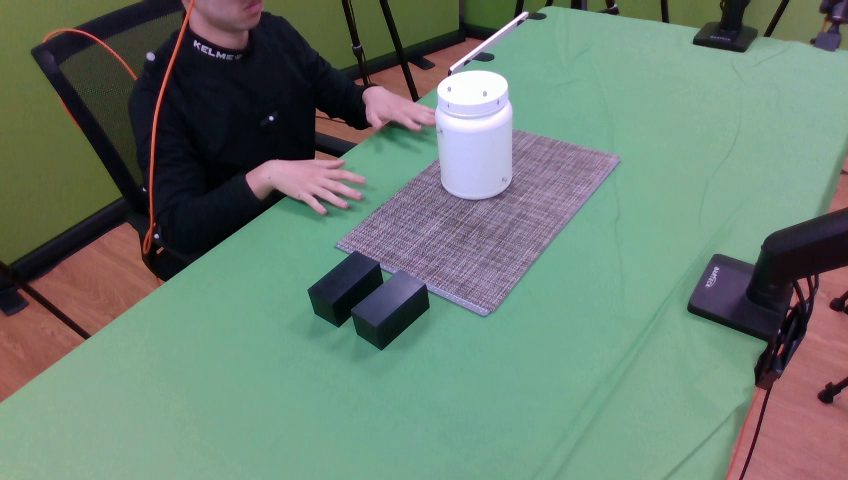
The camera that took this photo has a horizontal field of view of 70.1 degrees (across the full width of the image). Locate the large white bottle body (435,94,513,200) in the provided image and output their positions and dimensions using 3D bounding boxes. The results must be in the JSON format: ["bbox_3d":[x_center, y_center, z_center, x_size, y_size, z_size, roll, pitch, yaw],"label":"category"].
[{"bbox_3d":[0.086,-0.176,1.030,0.130,0.185,0.130,-4,41,4],"label":"large white bottle body"}]

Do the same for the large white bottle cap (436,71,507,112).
[{"bbox_3d":[0.077,-0.241,0.976,0.115,0.018,0.114,-4,41,4],"label":"large white bottle cap"}]
